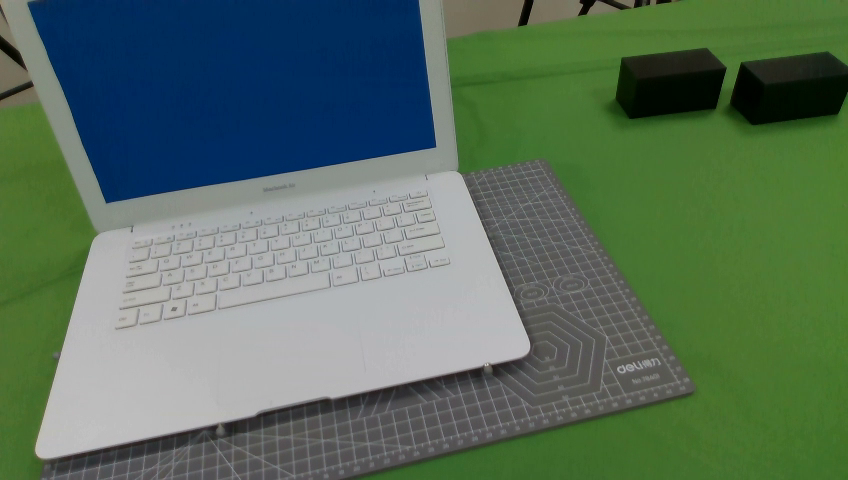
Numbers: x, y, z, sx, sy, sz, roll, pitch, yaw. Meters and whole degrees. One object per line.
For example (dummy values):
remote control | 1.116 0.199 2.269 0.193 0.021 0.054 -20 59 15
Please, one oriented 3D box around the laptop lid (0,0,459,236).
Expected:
laptop lid | -0.150 -0.133 0.540 0.357 0.243 0.013 -12 28 -5

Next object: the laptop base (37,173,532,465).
laptop base | -0.113 0.047 0.510 0.355 0.023 0.233 -11 46 -6
